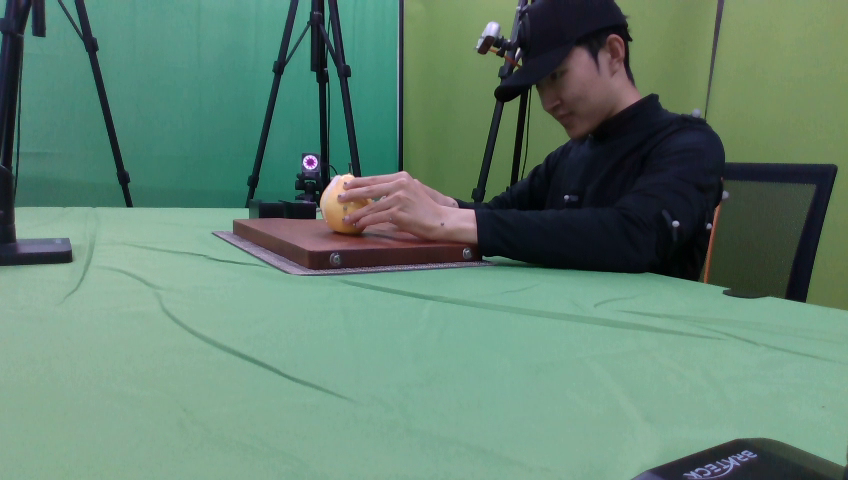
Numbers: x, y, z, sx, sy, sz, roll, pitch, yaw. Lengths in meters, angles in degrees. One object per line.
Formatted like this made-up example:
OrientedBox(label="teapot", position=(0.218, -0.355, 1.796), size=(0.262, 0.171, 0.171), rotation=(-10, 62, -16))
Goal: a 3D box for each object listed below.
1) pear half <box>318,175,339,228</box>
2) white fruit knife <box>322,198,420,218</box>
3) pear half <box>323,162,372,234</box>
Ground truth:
OrientedBox(label="pear half", position=(-0.141, -0.057, 0.945), size=(0.031, 0.088, 0.071), rotation=(-1, 8, 39))
OrientedBox(label="white fruit knife", position=(-0.082, -0.051, 0.989), size=(0.016, 0.027, 0.208), rotation=(5, 10, 43))
OrientedBox(label="pear half", position=(-0.109, -0.063, 0.917), size=(0.055, 0.110, 0.077), rotation=(8, 12, 36))
